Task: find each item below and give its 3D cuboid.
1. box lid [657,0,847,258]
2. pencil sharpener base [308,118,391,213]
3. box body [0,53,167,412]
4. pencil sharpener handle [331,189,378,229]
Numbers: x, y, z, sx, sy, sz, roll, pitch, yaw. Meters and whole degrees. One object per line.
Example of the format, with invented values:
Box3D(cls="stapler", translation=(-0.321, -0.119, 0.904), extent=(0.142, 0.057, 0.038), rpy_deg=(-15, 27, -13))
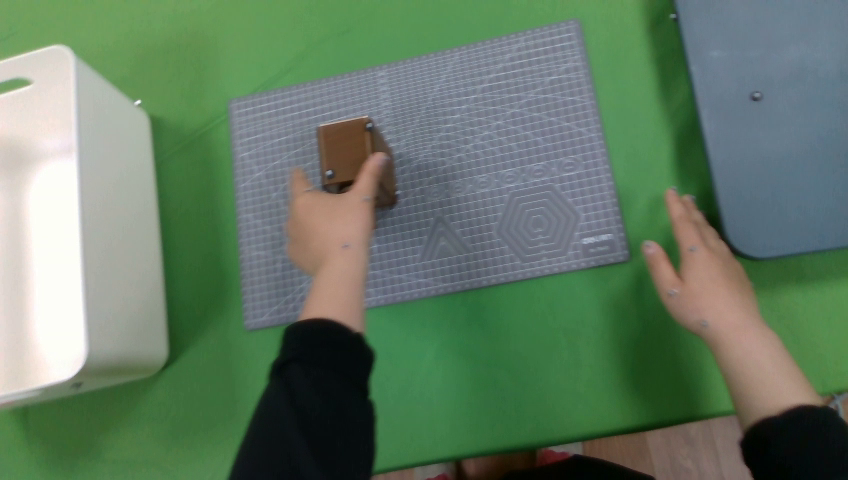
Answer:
Box3D(cls="box lid", translation=(0.398, -0.178, 0.621), extent=(0.263, 0.015, 0.369), rpy_deg=(-10, 77, 8))
Box3D(cls="pencil sharpener base", translation=(-0.080, -0.077, 0.677), extent=(0.061, 0.107, 0.076), rpy_deg=(-11, 77, 8))
Box3D(cls="box body", translation=(-0.462, 0.008, 0.702), extent=(0.254, 0.161, 0.362), rpy_deg=(-14, 76, 7))
Box3D(cls="pencil sharpener handle", translation=(-0.071, -0.032, 0.652), extent=(0.036, 0.068, 0.030), rpy_deg=(-15, 75, 26))
